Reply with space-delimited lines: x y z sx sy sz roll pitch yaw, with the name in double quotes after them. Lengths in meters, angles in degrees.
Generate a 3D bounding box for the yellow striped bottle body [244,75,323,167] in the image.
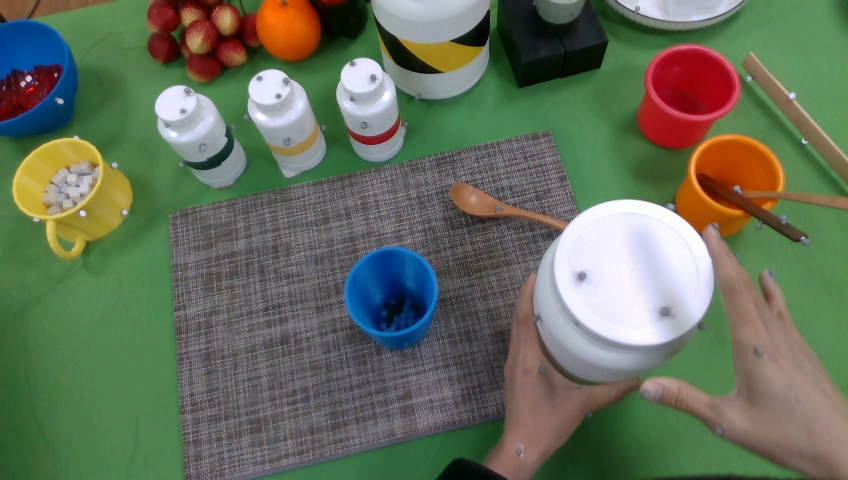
-0.154 -0.135 0.663 0.063 0.121 0.062 -2 68 4 "yellow striped bottle body"

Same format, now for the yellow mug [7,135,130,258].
-0.393 -0.044 0.671 0.100 0.064 0.130 -3 69 1 "yellow mug"

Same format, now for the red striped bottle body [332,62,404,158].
-0.061 -0.145 0.662 0.063 0.120 0.062 -3 67 7 "red striped bottle body"

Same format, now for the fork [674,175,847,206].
0.335 -0.045 0.581 0.028 0.019 0.205 -51 30 -14 "fork"

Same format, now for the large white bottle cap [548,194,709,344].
0.150 0.019 0.449 0.115 0.018 0.114 -1 68 3 "large white bottle cap"

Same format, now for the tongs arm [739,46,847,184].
0.475 -0.070 0.643 0.051 0.027 0.381 -25 70 -8 "tongs arm"

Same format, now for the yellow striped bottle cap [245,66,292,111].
-0.158 -0.154 0.615 0.044 0.019 0.044 -1 69 3 "yellow striped bottle cap"

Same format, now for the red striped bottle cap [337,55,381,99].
-0.066 -0.166 0.613 0.044 0.018 0.044 0 66 0 "red striped bottle cap"

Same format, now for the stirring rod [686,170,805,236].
0.305 -0.040 0.589 0.014 0.006 0.174 -11 25 -3 "stirring rod"

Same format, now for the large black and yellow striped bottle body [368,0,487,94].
0.004 -0.265 0.670 0.131 0.185 0.130 -1 68 3 "large black and yellow striped bottle body"

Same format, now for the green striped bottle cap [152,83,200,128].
-0.251 -0.136 0.614 0.044 0.020 0.044 -1 67 3 "green striped bottle cap"

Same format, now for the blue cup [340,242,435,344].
-0.030 0.060 0.584 0.092 0.101 0.092 -1 68 2 "blue cup"

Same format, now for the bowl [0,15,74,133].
-0.482 -0.183 0.725 0.151 0.077 0.150 -1 68 3 "bowl"

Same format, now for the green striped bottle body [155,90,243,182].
-0.247 -0.117 0.662 0.063 0.120 0.062 -1 68 3 "green striped bottle body"

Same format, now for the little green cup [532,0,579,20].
0.152 -0.286 0.693 0.061 0.039 0.061 -1 67 2 "little green cup"

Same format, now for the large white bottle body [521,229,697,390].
0.157 0.053 0.529 0.130 0.186 0.129 -1 67 4 "large white bottle body"

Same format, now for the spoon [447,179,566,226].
0.116 -0.027 0.652 0.193 0.022 0.041 17 45 9 "spoon"

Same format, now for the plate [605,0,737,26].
0.305 -0.350 0.764 0.209 0.038 0.207 -1 69 3 "plate"
